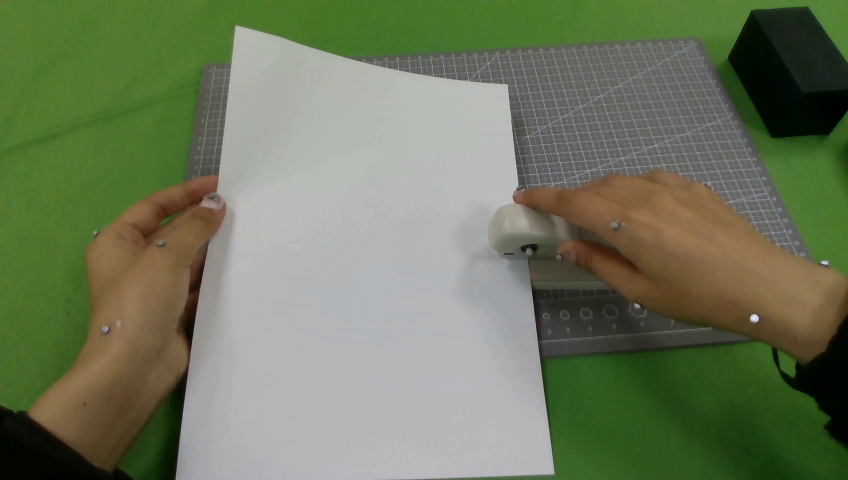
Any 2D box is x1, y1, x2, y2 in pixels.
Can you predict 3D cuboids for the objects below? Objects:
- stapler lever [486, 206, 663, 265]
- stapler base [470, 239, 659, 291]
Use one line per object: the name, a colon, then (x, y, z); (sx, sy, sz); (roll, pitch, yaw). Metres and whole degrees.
stapler lever: (0.100, -0.003, 0.396); (0.118, 0.040, 0.026); (0, 58, -2)
stapler base: (0.098, 0.012, 0.417); (0.131, 0.024, 0.041); (0, 58, -3)
